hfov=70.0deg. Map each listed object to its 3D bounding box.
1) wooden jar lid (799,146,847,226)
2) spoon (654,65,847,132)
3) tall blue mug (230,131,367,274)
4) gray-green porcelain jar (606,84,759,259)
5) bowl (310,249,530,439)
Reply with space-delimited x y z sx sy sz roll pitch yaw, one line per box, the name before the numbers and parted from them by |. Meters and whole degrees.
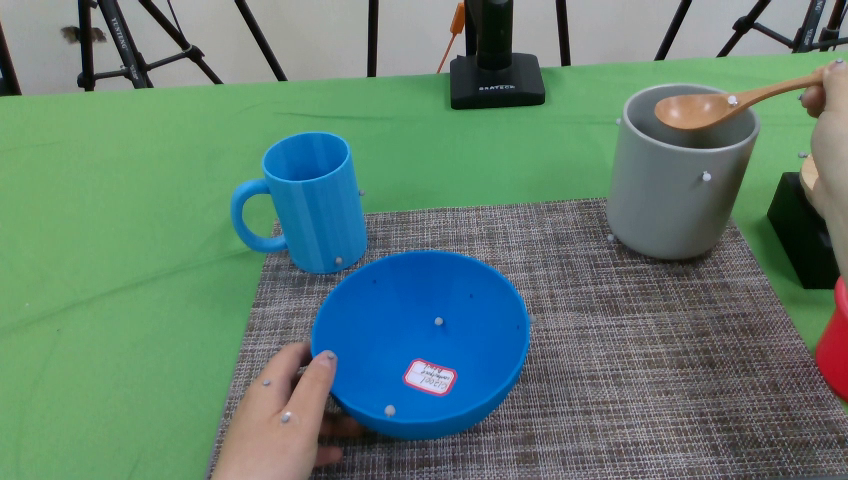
wooden jar lid | 0.376 -0.042 0.512 0.108 0.021 0.107 -3 43 3
spoon | 0.271 -0.111 0.445 0.193 0.022 0.041 -10 44 31
tall blue mug | -0.108 -0.025 0.545 0.107 0.109 0.077 -36 52 -29
gray-green porcelain jar | 0.218 -0.054 0.531 0.106 0.128 0.105 -3 43 3
bowl | 0.000 0.085 0.437 0.151 0.077 0.150 -3 43 3
